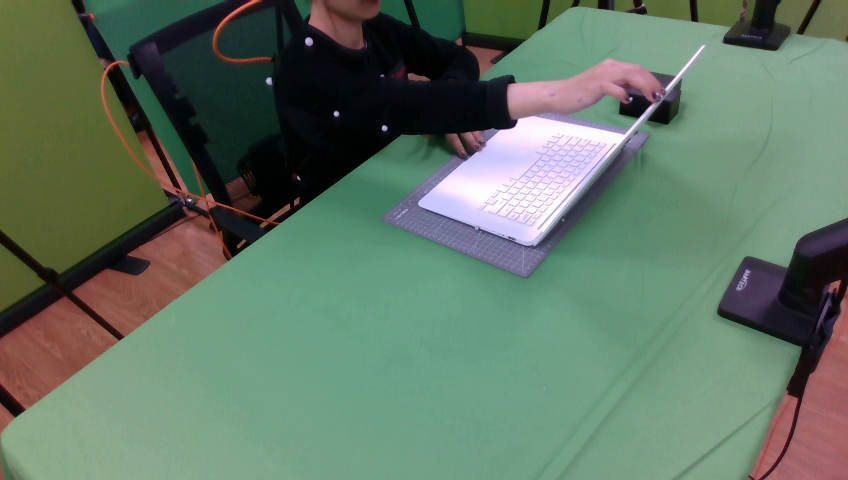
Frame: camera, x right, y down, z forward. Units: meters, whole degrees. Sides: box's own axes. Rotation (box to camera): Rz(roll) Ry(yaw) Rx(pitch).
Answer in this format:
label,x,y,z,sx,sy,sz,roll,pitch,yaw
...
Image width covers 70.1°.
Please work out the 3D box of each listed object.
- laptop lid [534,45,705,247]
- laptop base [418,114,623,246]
label,x,y,z,sx,sy,sz,roll,pitch,yaw
laptop lid,0.305,-0.146,0.938,0.013,0.241,0.357,40,54,9
laptop base,0.183,-0.122,1.094,0.233,0.023,0.355,19,48,34
